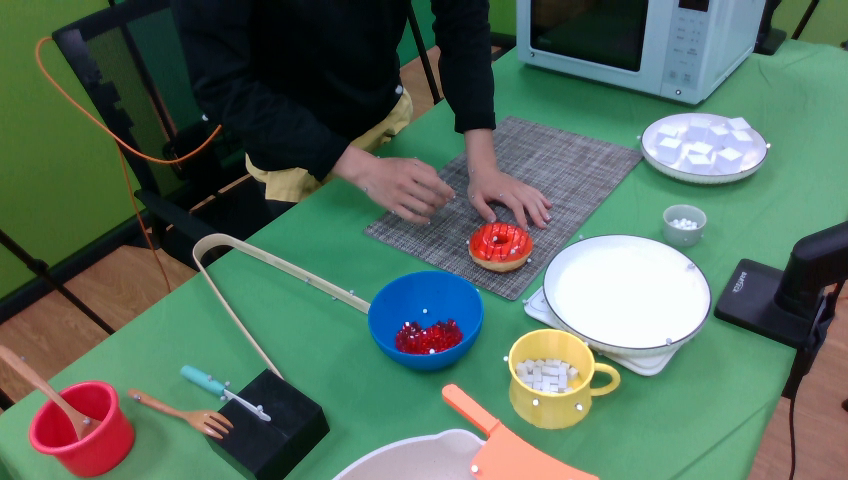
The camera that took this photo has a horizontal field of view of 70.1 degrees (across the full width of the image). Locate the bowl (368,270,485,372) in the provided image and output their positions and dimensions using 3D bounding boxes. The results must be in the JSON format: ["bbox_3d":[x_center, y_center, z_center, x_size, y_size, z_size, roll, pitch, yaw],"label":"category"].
[{"bbox_3d":[0.007,0.119,0.791,0.151,0.077,0.150,-5,39,4],"label":"bowl"}]

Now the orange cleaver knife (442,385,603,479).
[{"bbox_3d":[0.086,0.219,0.612,0.209,0.012,0.077,28,49,35],"label":"orange cleaver knife"}]

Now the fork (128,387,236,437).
[{"bbox_3d":[-0.305,0.208,0.744,0.206,0.019,0.028,3,41,36],"label":"fork"}]

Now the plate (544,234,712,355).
[{"bbox_3d":[0.262,0.072,0.792,0.209,0.038,0.208,-4,41,4],"label":"plate"}]

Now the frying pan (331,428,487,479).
[{"bbox_3d":[-0.089,0.306,0.564,0.487,0.103,0.306,10,41,7],"label":"frying pan"}]

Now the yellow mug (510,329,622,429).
[{"bbox_3d":[0.168,0.164,0.721,0.130,0.064,0.099,0,40,8],"label":"yellow mug"}]

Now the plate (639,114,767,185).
[{"bbox_3d":[0.489,-0.157,1.074,0.207,0.039,0.206,-4,40,4],"label":"plate"}]

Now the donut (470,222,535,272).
[{"bbox_3d":[0.119,0.009,0.923,0.099,0.048,0.098,-4,38,3],"label":"donut"}]

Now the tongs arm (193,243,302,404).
[{"bbox_3d":[-0.268,0.109,0.884,0.028,0.028,0.384,-35,47,-18],"label":"tongs arm"}]

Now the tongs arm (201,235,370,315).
[{"bbox_3d":[-0.209,0.062,0.924,0.381,0.026,0.051,23,53,32],"label":"tongs arm"}]

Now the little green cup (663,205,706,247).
[{"bbox_3d":[0.396,-0.020,0.926,0.061,0.039,0.061,-4,40,4],"label":"little green cup"}]

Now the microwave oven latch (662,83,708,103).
[{"bbox_3d":[0.518,-0.296,1.204,0.078,0.029,0.030,27,52,35],"label":"microwave oven latch"}]

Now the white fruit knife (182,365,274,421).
[{"bbox_3d":[-0.245,0.188,0.747,0.205,0.027,0.016,9,41,41],"label":"white fruit knife"}]

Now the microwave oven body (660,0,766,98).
[{"bbox_3d":[0.472,-0.513,1.317,0.438,0.261,0.327,26,51,34],"label":"microwave oven body"}]

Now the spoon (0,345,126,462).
[{"bbox_3d":[-0.434,0.192,0.720,0.194,0.021,0.042,47,53,-7],"label":"spoon"}]

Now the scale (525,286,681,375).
[{"bbox_3d":[0.254,0.091,0.821,0.199,0.032,0.149,28,51,35],"label":"scale"}]

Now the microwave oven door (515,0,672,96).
[{"bbox_3d":[0.343,-0.455,1.259,0.353,0.245,0.039,26,51,33],"label":"microwave oven door"}]
